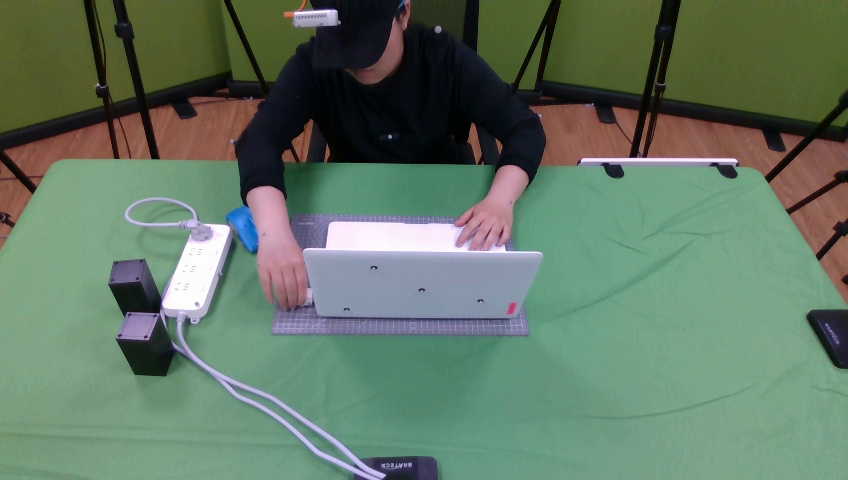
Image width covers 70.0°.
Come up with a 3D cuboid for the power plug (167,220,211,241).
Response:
[{"bbox_3d":[-0.439,-0.017,1.143,0.072,0.053,0.035,10,43,5],"label":"power plug"}]

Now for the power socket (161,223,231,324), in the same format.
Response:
[{"bbox_3d":[-0.412,0.051,1.106,0.072,0.033,0.225,4,46,-2],"label":"power socket"}]

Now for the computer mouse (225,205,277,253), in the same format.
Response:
[{"bbox_3d":[-0.340,-0.026,1.186,0.063,0.041,0.116,-25,57,-29],"label":"computer mouse"}]

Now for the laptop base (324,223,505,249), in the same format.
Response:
[{"bbox_3d":[-0.016,0.054,1.146,0.354,0.023,0.234,1,43,-3],"label":"laptop base"}]

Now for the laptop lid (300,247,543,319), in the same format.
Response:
[{"bbox_3d":[-0.006,0.075,0.963,0.357,0.242,0.013,2,58,-4],"label":"laptop lid"}]

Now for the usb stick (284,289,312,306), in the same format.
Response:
[{"bbox_3d":[-0.217,0.102,1.073,0.059,0.027,0.021,2,42,-4],"label":"usb stick"}]
